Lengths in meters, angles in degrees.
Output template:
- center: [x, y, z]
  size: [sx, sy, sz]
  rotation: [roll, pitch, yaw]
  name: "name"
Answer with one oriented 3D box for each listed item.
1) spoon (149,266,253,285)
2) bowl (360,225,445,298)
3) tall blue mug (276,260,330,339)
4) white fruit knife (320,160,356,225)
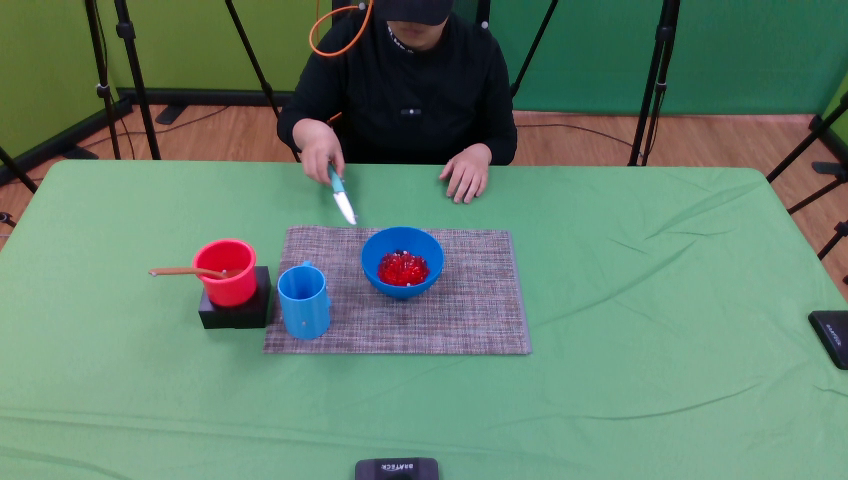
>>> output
- center: [-0.351, 0.052, 0.968]
  size: [0.041, 0.021, 0.194]
  rotation: [41, 12, 28]
  name: "spoon"
- center: [-0.040, 0.053, 1.099]
  size: [0.151, 0.077, 0.150]
  rotation: [2, 46, -2]
  name: "bowl"
- center: [-0.208, 0.094, 1.025]
  size: [0.078, 0.108, 0.106]
  rotation: [-21, 51, -21]
  name: "tall blue mug"
- center: [-0.172, -0.100, 1.228]
  size: [0.027, 0.016, 0.206]
  rotation: [-33, 51, 4]
  name: "white fruit knife"
